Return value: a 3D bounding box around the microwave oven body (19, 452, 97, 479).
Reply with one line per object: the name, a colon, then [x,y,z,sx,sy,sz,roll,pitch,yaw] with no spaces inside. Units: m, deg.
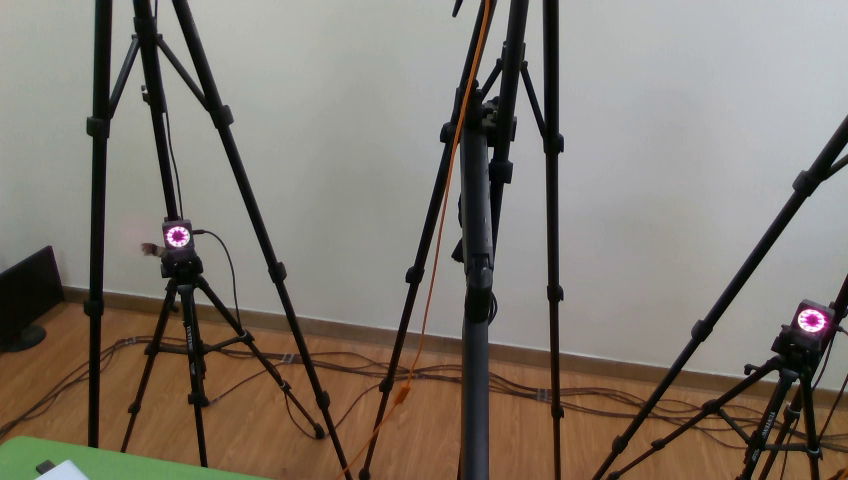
microwave oven body: [-0.490,0.506,0.635,0.323,0.262,0.442,23,35,29]
